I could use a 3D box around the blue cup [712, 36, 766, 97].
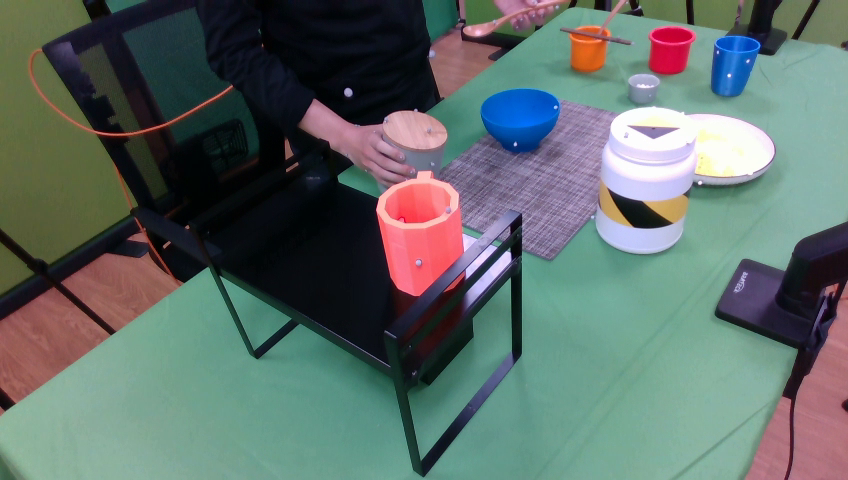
[{"bbox_3d":[0.627,-0.350,1.227,0.092,0.100,0.092,-4,39,4],"label":"blue cup"}]

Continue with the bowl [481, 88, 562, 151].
[{"bbox_3d":[0.187,-0.223,1.161,0.151,0.077,0.150,-4,40,4],"label":"bowl"}]

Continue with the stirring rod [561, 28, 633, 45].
[{"bbox_3d":[0.382,-0.453,1.345,0.174,0.006,0.014,27,53,33],"label":"stirring rod"}]

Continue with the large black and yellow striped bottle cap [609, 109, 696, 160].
[{"bbox_3d":[0.319,-0.150,0.849,0.115,0.019,0.114,-4,40,3],"label":"large black and yellow striped bottle cap"}]

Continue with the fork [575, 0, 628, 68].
[{"bbox_3d":[0.413,-0.481,1.377,0.207,0.019,0.028,-57,43,12],"label":"fork"}]

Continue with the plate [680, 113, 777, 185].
[{"bbox_3d":[0.506,-0.158,1.073,0.209,0.038,0.208,-5,40,4],"label":"plate"}]

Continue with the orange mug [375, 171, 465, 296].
[{"bbox_3d":[0.000,-0.016,0.661,0.083,0.101,0.125,-2,45,8],"label":"orange mug"}]

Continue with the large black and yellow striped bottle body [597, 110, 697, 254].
[{"bbox_3d":[0.331,-0.086,0.904,0.131,0.185,0.130,-5,41,4],"label":"large black and yellow striped bottle body"}]

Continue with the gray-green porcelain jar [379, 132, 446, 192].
[{"bbox_3d":[-0.023,-0.131,1.039,0.106,0.127,0.105,6,43,-5],"label":"gray-green porcelain jar"}]

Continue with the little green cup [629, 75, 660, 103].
[{"bbox_3d":[0.457,-0.314,1.260,0.061,0.039,0.061,-4,40,4],"label":"little green cup"}]

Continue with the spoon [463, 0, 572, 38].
[{"bbox_3d":[0.163,-0.388,1.052,0.193,0.022,0.041,-18,40,12],"label":"spoon"}]

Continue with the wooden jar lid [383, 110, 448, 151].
[{"bbox_3d":[-0.015,-0.176,0.997,0.109,0.021,0.108,7,43,-6],"label":"wooden jar lid"}]
